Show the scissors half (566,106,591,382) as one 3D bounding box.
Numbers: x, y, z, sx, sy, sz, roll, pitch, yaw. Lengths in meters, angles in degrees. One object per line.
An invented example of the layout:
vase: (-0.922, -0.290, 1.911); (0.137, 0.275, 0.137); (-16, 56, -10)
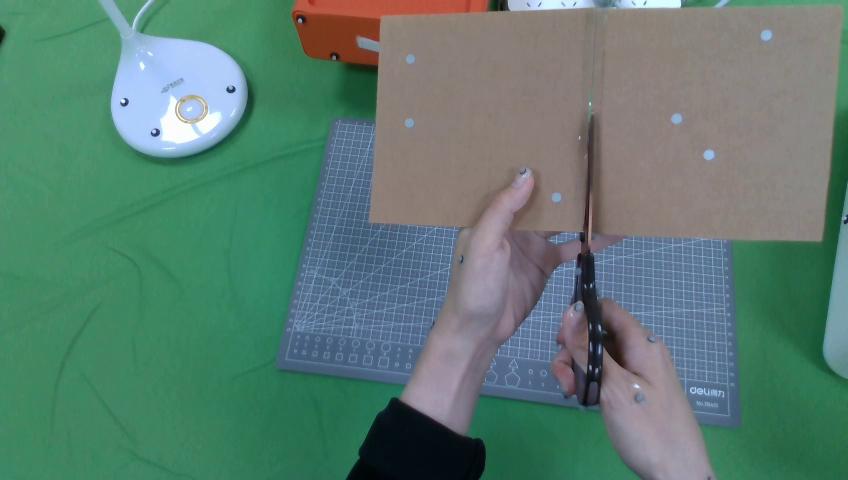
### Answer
scissors half: (0.099, 0.006, 0.381); (0.013, 0.040, 0.176); (2, 104, 9)

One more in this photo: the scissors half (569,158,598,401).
scissors half: (0.096, 0.006, 0.359); (0.013, 0.040, 0.174); (2, 78, 4)

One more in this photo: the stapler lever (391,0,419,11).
stapler lever: (-0.053, -0.291, 0.673); (0.117, 0.040, 0.027); (36, 89, 19)

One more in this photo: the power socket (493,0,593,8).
power socket: (0.200, -0.303, 0.749); (0.227, 0.033, 0.071); (1, 69, 2)

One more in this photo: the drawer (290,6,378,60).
drawer: (-0.027, -0.304, 0.685); (0.194, 0.074, 0.210); (7, 68, 6)

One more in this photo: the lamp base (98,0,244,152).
lamp base: (-0.307, -0.211, 0.651); (0.178, 0.181, 0.160); (38, 74, 19)

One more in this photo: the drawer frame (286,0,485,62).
drawer frame: (-0.028, -0.306, 0.685); (0.201, 0.083, 0.212); (7, 68, 6)

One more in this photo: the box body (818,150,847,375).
box body: (0.541, -0.019, 0.552); (0.253, 0.161, 0.362); (19, 70, 10)

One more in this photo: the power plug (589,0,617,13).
power plug: (0.208, -0.285, 0.717); (0.035, 0.053, 0.072); (10, 69, 6)

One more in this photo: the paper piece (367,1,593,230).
paper piece: (0.032, -0.077, 0.377); (0.135, 0.009, 0.138); (4, 92, 13)

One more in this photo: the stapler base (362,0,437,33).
stapler base: (-0.044, -0.286, 0.697); (0.130, 0.024, 0.041); (36, 90, 18)

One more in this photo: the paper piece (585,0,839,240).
paper piece: (0.162, -0.071, 0.352); (0.135, 0.004, 0.136); (4, 97, 10)
